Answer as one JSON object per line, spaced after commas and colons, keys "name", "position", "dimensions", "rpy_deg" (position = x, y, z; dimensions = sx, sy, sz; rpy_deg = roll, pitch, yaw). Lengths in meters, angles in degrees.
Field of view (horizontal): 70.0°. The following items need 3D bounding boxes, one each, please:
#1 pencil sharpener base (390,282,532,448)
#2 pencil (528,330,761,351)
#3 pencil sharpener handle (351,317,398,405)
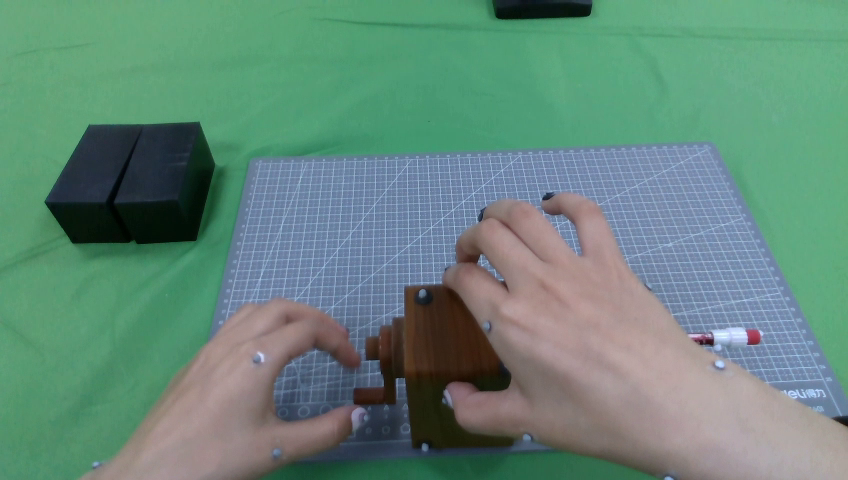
{"name": "pencil sharpener base", "position": [0.020, 0.081, 0.375], "dimensions": [0.077, 0.108, 0.061], "rpy_deg": [-2, 49, 0]}
{"name": "pencil", "position": [0.100, 0.061, 0.356], "dimensions": [0.194, 0.012, 0.012], "rpy_deg": [-1, 49, 0]}
{"name": "pencil sharpener handle", "position": [-0.031, 0.077, 0.363], "dimensions": [0.030, 0.068, 0.035], "rpy_deg": [-2, 38, 0]}
